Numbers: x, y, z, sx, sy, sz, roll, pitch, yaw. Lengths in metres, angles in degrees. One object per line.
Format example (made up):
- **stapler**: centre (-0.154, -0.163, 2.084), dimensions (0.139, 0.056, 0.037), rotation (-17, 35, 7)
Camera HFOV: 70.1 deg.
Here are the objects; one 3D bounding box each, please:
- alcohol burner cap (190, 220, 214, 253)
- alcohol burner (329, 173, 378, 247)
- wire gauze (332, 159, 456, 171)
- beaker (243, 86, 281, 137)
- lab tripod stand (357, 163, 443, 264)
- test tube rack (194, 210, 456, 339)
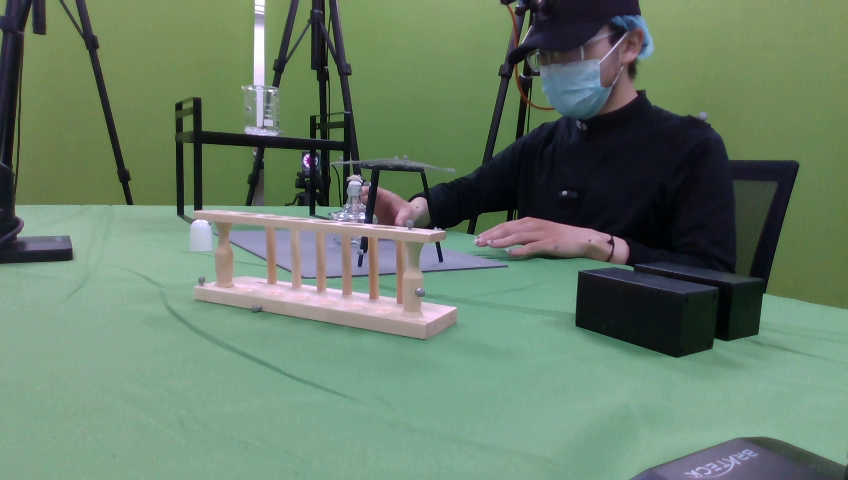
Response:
- **alcohol burner cap**: centre (-0.321, -0.006, 0.875), dimensions (0.034, 0.048, 0.034), rotation (4, 8, 0)
- **alcohol burner**: centre (-0.113, -0.049, 0.972), dimensions (0.078, 0.119, 0.078), rotation (1, 9, 0)
- **wire gauze**: centre (-0.042, -0.104, 0.819), dimensions (0.126, 0.011, 0.121), rotation (-3, 9, -44)
- **beaker**: centre (-0.338, -0.265, 1.253), dimensions (0.073, 0.100, 0.084), rotation (8, 10, 38)
- **lab tripod stand**: centre (-0.044, -0.038, 0.830), dimensions (0.148, 0.131, 0.148), rotation (3, 6, 0)
- **test tube rack**: centre (-0.093, 0.023, 0.545), dimensions (0.241, 0.085, 0.067), rotation (6, 8, 25)
